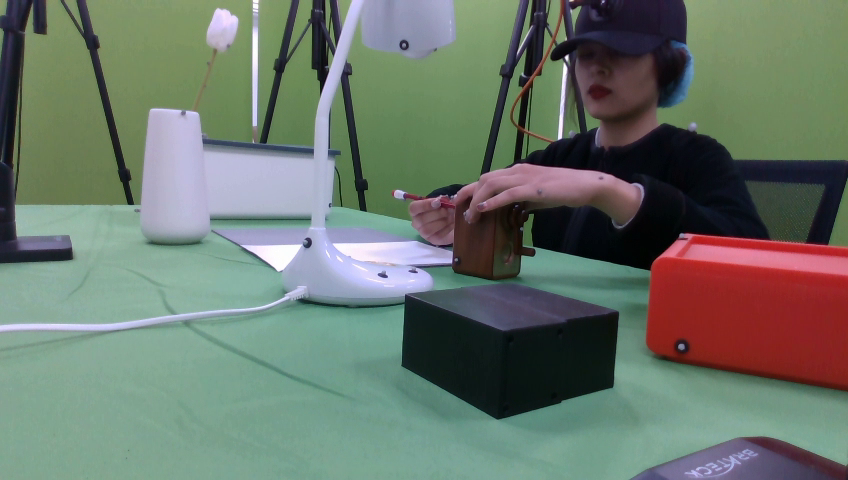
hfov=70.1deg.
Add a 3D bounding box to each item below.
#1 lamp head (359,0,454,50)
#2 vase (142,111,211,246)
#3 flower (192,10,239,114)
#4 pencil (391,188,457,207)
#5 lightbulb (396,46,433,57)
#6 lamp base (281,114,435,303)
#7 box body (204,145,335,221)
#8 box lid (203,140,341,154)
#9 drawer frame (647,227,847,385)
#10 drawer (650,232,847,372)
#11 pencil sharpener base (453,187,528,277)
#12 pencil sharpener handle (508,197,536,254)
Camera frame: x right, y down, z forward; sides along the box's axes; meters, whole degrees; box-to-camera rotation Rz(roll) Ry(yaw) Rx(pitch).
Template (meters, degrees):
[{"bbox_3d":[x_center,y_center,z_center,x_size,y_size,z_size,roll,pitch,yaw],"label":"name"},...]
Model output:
[{"bbox_3d":[-0.024,-0.283,0.674,0.112,0.123,0.112,-3,38,3],"label":"lamp head"},{"bbox_3d":[-0.378,-0.093,0.920,0.098,0.200,0.098,2,9,0],"label":"vase"},{"bbox_3d":[-0.354,-0.174,0.915,0.038,0.361,0.044,18,-3,12],"label":"flower"},{"bbox_3d":[0.019,-0.055,0.833,0.012,0.012,0.193,-5,14,-43],"label":"pencil"},{"bbox_3d":[-0.018,-0.265,0.692,0.059,0.108,0.059,-10,28,6],"label":"lightbulb"},{"bbox_3d":[-0.071,-0.035,0.614,0.160,0.180,0.180,5,10,27],"label":"lamp base"},{"bbox_3d":[-0.411,-0.135,1.386,0.366,0.160,0.253,-2,9,-29],"label":"box body"},{"bbox_3d":[-0.396,-0.212,1.373,0.373,0.015,0.262,-1,9,-29],"label":"box lid"},{"bbox_3d":[0.303,0.043,0.495,0.201,0.082,0.214,6,9,26],"label":"drawer frame"},{"bbox_3d":[0.303,0.044,0.499,0.194,0.073,0.212,6,9,27],"label":"drawer"},{"bbox_3d":[0.085,-0.011,0.765,0.076,0.107,0.062,10,10,43],"label":"pencil sharpener base"},{"bbox_3d":[0.123,-0.017,0.729,0.030,0.067,0.036,10,11,43],"label":"pencil sharpener handle"}]
